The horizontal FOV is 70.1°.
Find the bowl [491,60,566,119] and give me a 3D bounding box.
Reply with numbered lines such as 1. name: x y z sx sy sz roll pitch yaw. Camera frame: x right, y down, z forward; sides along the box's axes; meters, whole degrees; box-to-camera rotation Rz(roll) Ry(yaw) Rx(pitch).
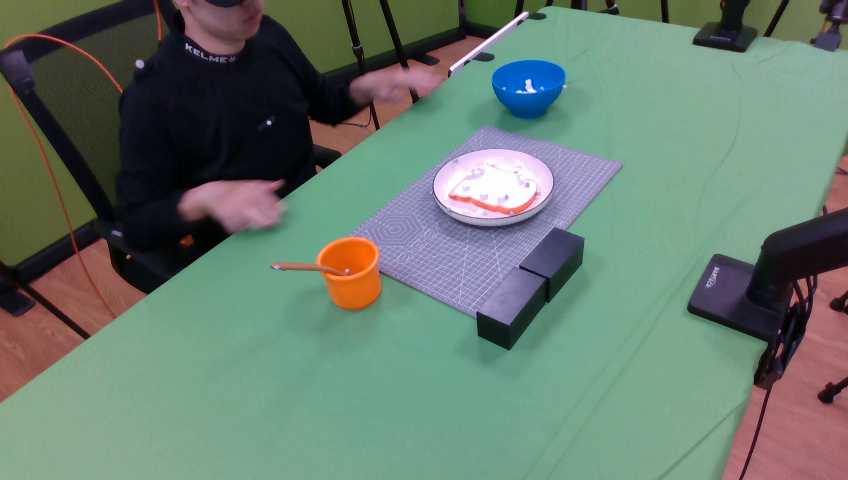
1. bowl: 0.215 -0.302 1.248 0.151 0.077 0.150 -4 40 4

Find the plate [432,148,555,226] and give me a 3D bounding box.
1. plate: 0.119 -0.087 1.037 0.209 0.038 0.208 -4 40 4

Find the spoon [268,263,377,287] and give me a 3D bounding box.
1. spoon: -0.137 0.045 0.839 0.041 0.195 0.021 28 96 38

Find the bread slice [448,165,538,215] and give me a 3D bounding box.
1. bread slice: 0.126 -0.085 1.037 0.133 0.018 0.107 17 45 27
